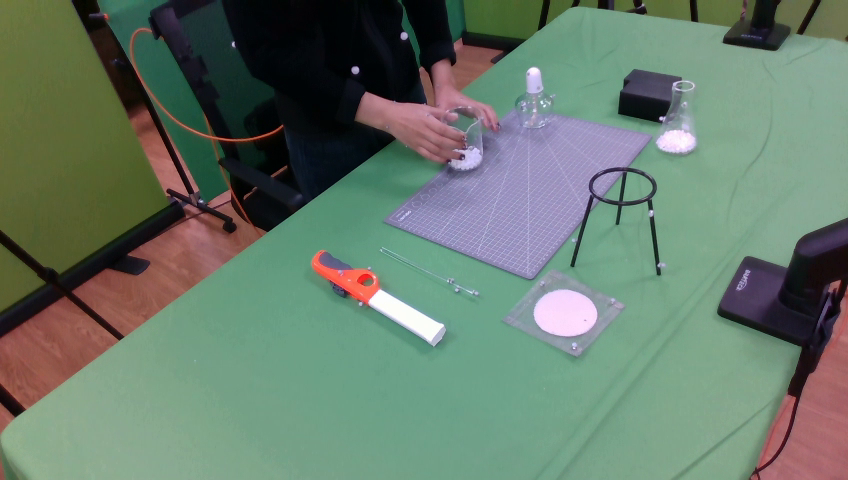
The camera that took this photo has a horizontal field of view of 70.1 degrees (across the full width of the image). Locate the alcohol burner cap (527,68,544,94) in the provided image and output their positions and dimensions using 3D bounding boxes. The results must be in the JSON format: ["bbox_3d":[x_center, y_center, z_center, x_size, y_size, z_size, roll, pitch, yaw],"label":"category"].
[{"bbox_3d":[0.216,-0.312,1.179,0.034,0.048,0.033,-10,40,9],"label":"alcohol burner cap"}]

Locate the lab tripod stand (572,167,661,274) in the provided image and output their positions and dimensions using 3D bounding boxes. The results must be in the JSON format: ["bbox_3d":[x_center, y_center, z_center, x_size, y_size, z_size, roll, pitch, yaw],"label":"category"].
[{"bbox_3d":[0.283,-0.030,0.879,0.148,0.132,0.147,-7,38,6],"label":"lab tripod stand"}]

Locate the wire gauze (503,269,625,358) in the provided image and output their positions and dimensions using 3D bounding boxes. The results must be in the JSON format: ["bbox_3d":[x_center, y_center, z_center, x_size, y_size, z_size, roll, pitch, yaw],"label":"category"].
[{"bbox_3d":[0.194,0.100,0.840,0.120,0.011,0.125,27,54,36],"label":"wire gauze"}]

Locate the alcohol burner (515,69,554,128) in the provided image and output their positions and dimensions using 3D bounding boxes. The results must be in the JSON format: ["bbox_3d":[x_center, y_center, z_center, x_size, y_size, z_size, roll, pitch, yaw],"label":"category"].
[{"bbox_3d":[0.221,-0.285,1.203,0.078,0.119,0.077,-4,39,4],"label":"alcohol burner"}]

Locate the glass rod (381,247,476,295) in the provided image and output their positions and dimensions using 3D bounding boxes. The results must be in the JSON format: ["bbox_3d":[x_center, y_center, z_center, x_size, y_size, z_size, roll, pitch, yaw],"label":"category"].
[{"bbox_3d":[0.002,0.046,0.939,0.198,0.008,0.008,24,51,36],"label":"glass rod"}]

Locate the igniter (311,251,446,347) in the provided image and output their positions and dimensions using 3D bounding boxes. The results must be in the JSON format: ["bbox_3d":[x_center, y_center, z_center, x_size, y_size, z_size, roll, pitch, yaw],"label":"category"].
[{"bbox_3d":[-0.078,0.081,0.899,0.274,0.025,0.057,27,63,35],"label":"igniter"}]

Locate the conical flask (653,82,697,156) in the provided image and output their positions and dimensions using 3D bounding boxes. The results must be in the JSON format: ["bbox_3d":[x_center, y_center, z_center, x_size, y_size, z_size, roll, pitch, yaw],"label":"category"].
[{"bbox_3d":[0.454,-0.218,1.077,0.075,0.122,0.075,-5,40,5],"label":"conical flask"}]

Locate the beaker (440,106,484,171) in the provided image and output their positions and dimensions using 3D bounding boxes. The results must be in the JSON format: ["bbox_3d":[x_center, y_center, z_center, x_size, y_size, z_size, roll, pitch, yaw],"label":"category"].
[{"bbox_3d":[0.073,-0.183,1.110,0.074,0.101,0.083,-11,42,-1],"label":"beaker"}]
